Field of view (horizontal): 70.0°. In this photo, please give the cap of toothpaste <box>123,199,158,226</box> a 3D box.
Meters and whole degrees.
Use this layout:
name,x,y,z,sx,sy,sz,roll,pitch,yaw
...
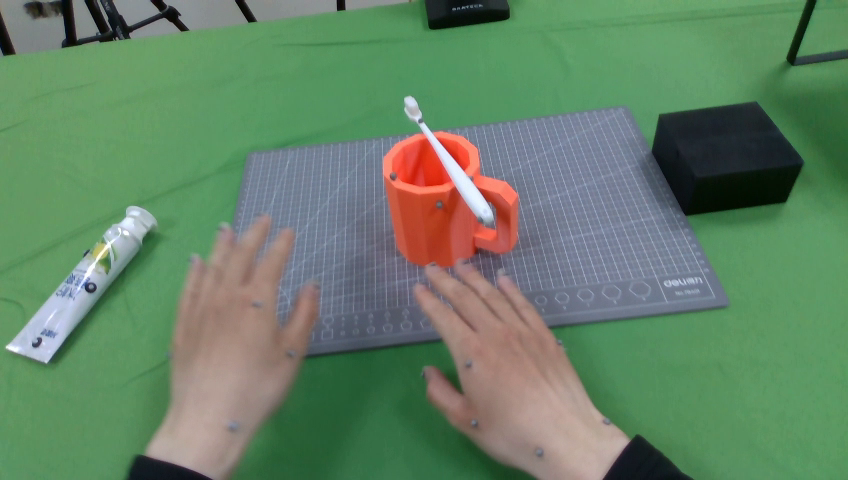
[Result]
name,x,y,z,sx,sy,sz,roll,pitch,yaw
cap of toothpaste,-0.295,-0.027,0.630,0.037,0.038,0.011,5,47,12

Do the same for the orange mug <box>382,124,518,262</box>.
name,x,y,z,sx,sy,sz,roll,pitch,yaw
orange mug,0.026,-0.038,0.553,0.125,0.102,0.083,15,51,26

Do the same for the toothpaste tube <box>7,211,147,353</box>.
name,x,y,z,sx,sy,sz,roll,pitch,yaw
toothpaste tube,-0.326,0.033,0.585,0.055,0.035,0.164,8,52,24

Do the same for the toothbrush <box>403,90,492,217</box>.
name,x,y,z,sx,sy,sz,roll,pitch,yaw
toothbrush,0.016,-0.080,0.521,0.014,0.017,0.179,-18,47,-12
